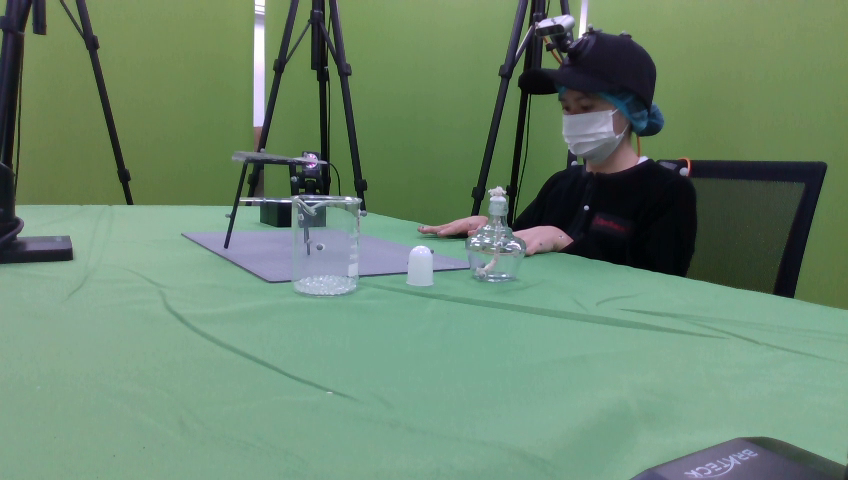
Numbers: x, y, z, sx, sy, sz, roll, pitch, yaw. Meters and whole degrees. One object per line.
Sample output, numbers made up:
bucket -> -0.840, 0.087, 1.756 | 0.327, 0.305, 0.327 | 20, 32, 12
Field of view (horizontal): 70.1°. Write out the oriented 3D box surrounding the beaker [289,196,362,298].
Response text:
beaker -> -0.104, 0.006, 0.627 | 0.074, 0.100, 0.084 | 4, 8, 11

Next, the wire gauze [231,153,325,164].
wire gauze -> -0.215, -0.118, 0.881 | 0.125, 0.011, 0.121 | 0, 7, -19

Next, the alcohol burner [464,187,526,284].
alcohol burner -> 0.089, -0.007, 0.747 | 0.078, 0.119, 0.078 | 4, 9, 0

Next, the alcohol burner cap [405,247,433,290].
alcohol burner cap -> -0.005, 0.031, 0.698 | 0.034, 0.048, 0.034 | 3, 8, 0

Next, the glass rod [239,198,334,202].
glass rod -> -0.277, -0.081, 1.232 | 0.201, 0.008, 0.008 | -1, 8, -30

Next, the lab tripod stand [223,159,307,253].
lab tripod stand -> -0.220, -0.053, 0.896 | 0.148, 0.131, 0.148 | 1, 6, 0
